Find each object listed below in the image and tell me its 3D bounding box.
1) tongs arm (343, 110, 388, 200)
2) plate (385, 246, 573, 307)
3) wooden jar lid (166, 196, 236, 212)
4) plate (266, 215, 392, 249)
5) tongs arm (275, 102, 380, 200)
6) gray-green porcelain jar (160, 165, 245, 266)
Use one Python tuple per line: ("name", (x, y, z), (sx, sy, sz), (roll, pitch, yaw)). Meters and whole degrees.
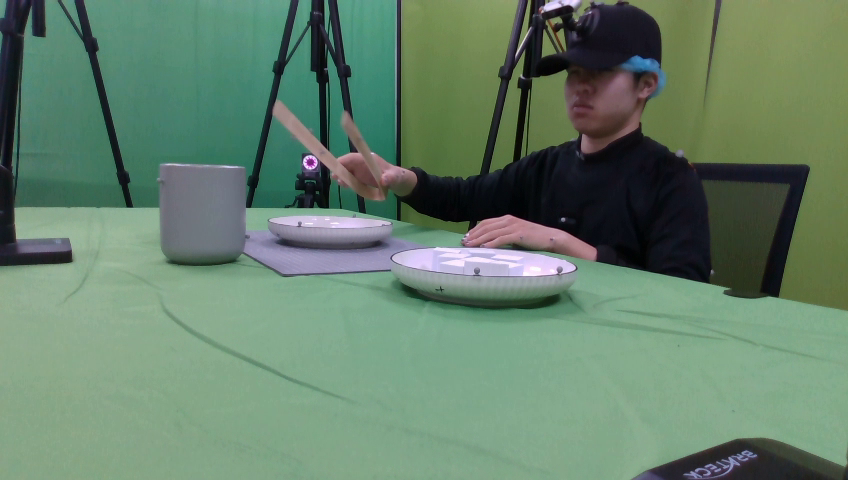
("tongs arm", (-0.098, -0.133, 1.049), (0.028, 0.027, 0.388), (5, -12, 6))
("plate", (0.060, 0.041, 0.678), (0.208, 0.039, 0.207), (3, 7, 0))
("wooden jar lid", (-0.369, -0.060, 1.001), (0.108, 0.020, 0.108), (3, 6, 0))
("plate", (-0.159, -0.015, 1.019), (0.209, 0.038, 0.209), (3, 7, 0))
("tongs arm", (-0.155, -0.143, 1.062), (0.050, 0.026, 0.386), (7, -12, 13))
("gray-green porcelain jar", (-0.291, -0.034, 0.799), (0.106, 0.126, 0.106), (2, 8, 0))
